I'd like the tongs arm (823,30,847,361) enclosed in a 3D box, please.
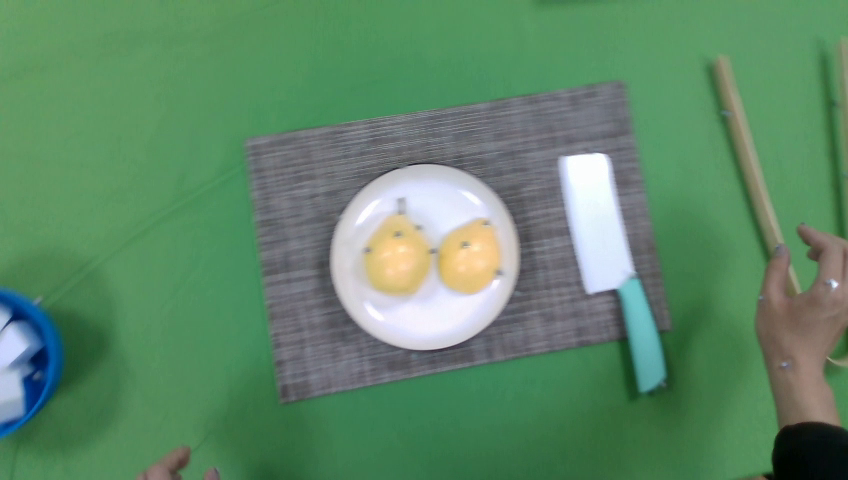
[{"bbox_3d":[0.478,-0.054,0.708,0.051,0.026,0.384,-4,86,-1],"label":"tongs arm"}]

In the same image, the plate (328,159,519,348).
[{"bbox_3d":[0.000,0.014,0.674,0.208,0.039,0.207,0,84,-3],"label":"plate"}]

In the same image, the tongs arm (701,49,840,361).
[{"bbox_3d":[0.398,-0.041,0.708,0.028,0.028,0.386,-17,86,-6],"label":"tongs arm"}]

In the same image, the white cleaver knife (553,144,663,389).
[{"bbox_3d":[0.208,0.029,0.696,0.066,0.021,0.285,-14,82,3],"label":"white cleaver knife"}]

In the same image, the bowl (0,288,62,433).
[{"bbox_3d":[-0.439,0.122,0.624,0.151,0.077,0.151,0,84,-2],"label":"bowl"}]

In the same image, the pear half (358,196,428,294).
[{"bbox_3d":[-0.033,0.002,0.660,0.076,0.056,0.109,0,80,-7],"label":"pear half"}]

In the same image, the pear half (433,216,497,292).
[{"bbox_3d":[0.049,0.014,0.671,0.070,0.031,0.088,22,89,-4],"label":"pear half"}]
